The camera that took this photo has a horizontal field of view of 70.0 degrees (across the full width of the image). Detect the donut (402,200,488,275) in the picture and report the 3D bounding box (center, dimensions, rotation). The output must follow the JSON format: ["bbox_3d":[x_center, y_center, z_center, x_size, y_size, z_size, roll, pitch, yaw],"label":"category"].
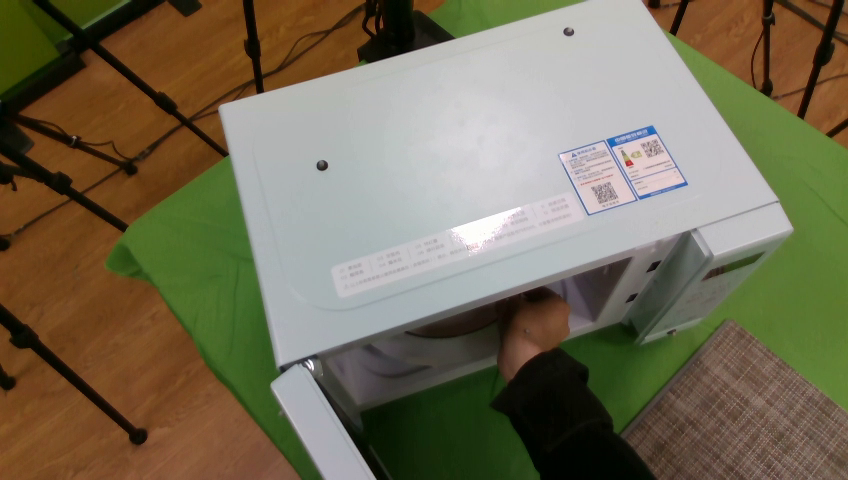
[{"bbox_3d":[0.024,-0.003,0.690,0.099,0.048,0.098,3,53,-4],"label":"donut"}]

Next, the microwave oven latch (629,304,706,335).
[{"bbox_3d":[0.279,0.083,0.694,0.079,0.030,0.030,-18,65,-5],"label":"microwave oven latch"}]

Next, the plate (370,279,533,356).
[{"bbox_3d":[0.016,0.035,0.672,0.209,0.038,0.207,-3,58,5],"label":"plate"}]

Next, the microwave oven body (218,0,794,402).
[{"bbox_3d":[0.059,-0.031,0.653,0.442,0.262,0.323,-18,65,-5],"label":"microwave oven body"}]

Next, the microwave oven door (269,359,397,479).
[{"bbox_3d":[0.001,0.273,0.501,0.039,0.246,0.353,-34,67,-13],"label":"microwave oven door"}]
